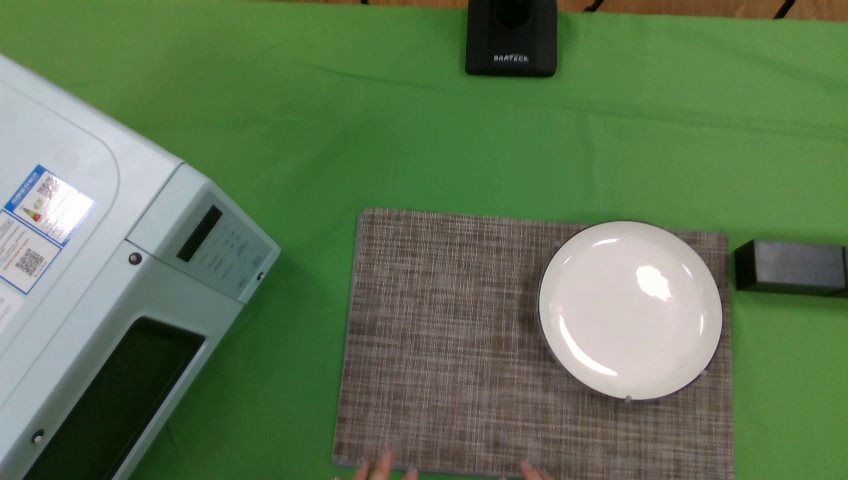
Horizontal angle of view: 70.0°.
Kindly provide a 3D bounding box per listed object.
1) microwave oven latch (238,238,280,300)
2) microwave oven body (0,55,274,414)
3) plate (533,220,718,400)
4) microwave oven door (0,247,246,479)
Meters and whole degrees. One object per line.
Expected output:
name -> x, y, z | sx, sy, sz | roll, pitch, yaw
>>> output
microwave oven latch -> -0.202, 0.030, 0.713 | 0.030, 0.029, 0.079 | 32, 79, 9
microwave oven body -> -0.423, 0.079, 0.606 | 0.325, 0.261, 0.440 | 30, 78, 8
plate -> 0.230, 0.080, 0.704 | 0.207, 0.039, 0.206 | 0, 75, 1
microwave oven door -> -0.319, 0.184, 0.570 | 0.039, 0.245, 0.355 | 29, 78, 10
